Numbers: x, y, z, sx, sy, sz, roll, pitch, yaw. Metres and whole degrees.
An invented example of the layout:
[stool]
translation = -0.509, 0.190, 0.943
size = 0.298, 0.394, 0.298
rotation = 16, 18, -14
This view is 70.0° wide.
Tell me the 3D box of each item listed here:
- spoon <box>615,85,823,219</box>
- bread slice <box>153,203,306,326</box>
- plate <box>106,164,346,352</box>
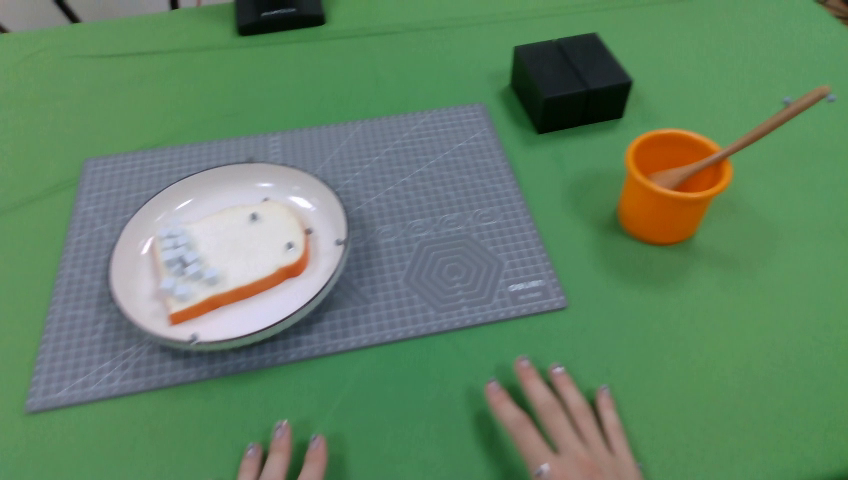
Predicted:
[spoon]
translation = 0.255, -0.077, 0.542
size = 0.193, 0.022, 0.041
rotation = -32, 42, 27
[bread slice]
translation = -0.177, 0.012, 0.555
size = 0.132, 0.019, 0.103
rotation = -22, 53, -15
[plate]
translation = -0.173, 0.014, 0.550
size = 0.209, 0.038, 0.207
rotation = 0, 50, 1
